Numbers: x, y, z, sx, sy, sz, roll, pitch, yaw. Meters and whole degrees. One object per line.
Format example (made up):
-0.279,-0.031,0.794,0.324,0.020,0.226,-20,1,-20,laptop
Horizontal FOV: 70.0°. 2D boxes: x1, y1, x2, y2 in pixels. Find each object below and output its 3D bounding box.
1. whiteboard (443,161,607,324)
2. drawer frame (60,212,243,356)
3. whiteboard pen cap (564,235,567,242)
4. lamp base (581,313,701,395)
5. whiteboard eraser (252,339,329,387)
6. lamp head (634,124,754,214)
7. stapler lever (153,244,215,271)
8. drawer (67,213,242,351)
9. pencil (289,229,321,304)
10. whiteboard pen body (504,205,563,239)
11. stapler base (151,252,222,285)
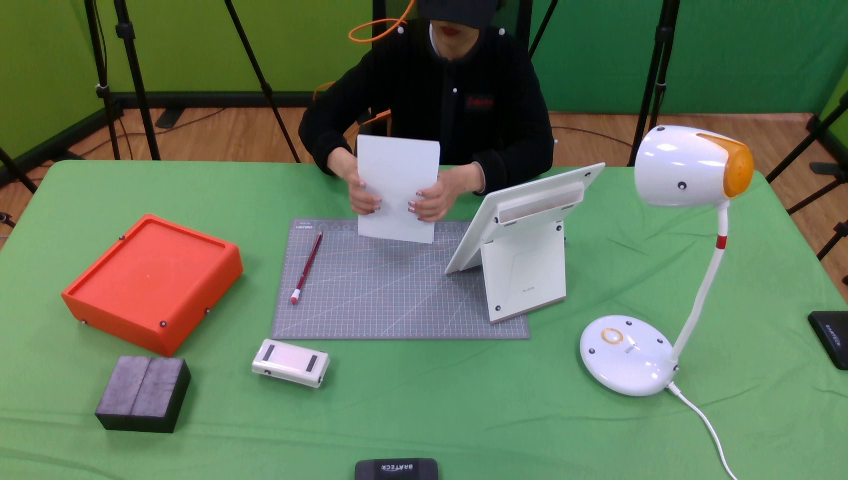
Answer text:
0.185,0.026,1.028,0.217,0.306,0.143,-15,68,-18,whiteboard
-0.462,0.070,1.053,0.201,0.083,0.213,18,48,12,drawer frame
0.271,-0.008,1.225,0.033,0.018,0.018,33,53,22,whiteboard pen cap
0.361,0.144,0.973,0.178,0.181,0.160,34,53,23,lamp base
-0.215,0.199,0.976,0.112,0.042,0.055,12,45,7,whiteboard eraser
0.351,-0.089,0.775,0.112,0.113,0.122,-30,30,-28,lamp head
-0.430,0.026,1.088,0.118,0.040,0.027,15,33,12,stapler lever
-0.461,0.068,1.056,0.194,0.073,0.211,19,48,13,drawer
-0.221,0.045,1.141,0.012,0.012,0.193,8,45,4,pencil
0.225,-0.036,1.249,0.140,0.017,0.017,31,52,23,whiteboard pen body
-0.432,0.047,1.102,0.130,0.024,0.041,16,33,12,stapler base
